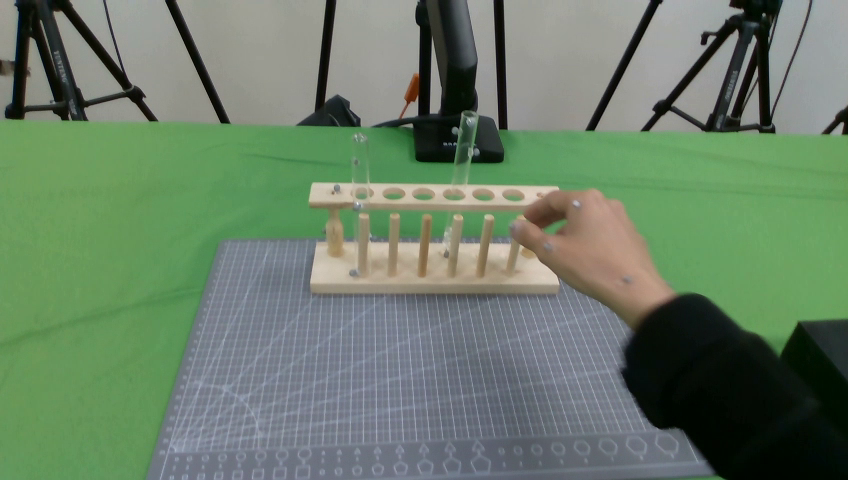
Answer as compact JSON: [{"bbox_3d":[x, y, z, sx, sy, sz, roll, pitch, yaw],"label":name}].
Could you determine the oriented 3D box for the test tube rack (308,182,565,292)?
[{"bbox_3d":[0.012,-0.002,0.591,0.243,0.086,0.066,1,37,-4],"label":"test tube rack"}]

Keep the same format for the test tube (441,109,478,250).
[{"bbox_3d":[0.033,-0.052,0.577,0.017,0.151,0.017,5,35,-3],"label":"test tube"}]

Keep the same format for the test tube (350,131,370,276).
[{"bbox_3d":[-0.057,-0.029,0.545,0.017,0.152,0.017,2,36,-1],"label":"test tube"}]
